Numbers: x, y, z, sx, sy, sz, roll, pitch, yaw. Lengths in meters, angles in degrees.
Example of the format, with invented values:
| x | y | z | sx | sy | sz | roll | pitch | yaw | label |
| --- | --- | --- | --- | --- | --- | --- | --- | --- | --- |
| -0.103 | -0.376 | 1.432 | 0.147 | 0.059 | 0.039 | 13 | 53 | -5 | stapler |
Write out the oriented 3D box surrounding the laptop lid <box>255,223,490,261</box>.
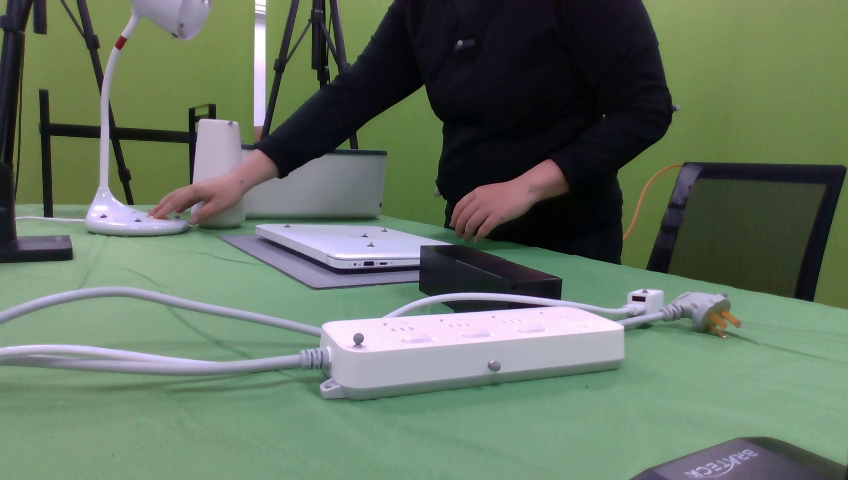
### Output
| x | y | z | sx | sy | sz | roll | pitch | yaw | label |
| --- | --- | --- | --- | --- | --- | --- | --- | --- | --- |
| -0.093 | 0.000 | 0.910 | 0.243 | 0.013 | 0.355 | 1 | 7 | -30 | laptop lid |

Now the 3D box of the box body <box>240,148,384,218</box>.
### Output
| x | y | z | sx | sy | sz | roll | pitch | yaw | label |
| --- | --- | --- | --- | --- | --- | --- | --- | --- | --- |
| -0.307 | -0.144 | 1.474 | 0.366 | 0.160 | 0.253 | -1 | 9 | -30 | box body |

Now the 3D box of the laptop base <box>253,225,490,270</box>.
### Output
| x | y | z | sx | sy | sz | roll | pitch | yaw | label |
| --- | --- | --- | --- | --- | --- | --- | --- | --- | --- |
| -0.096 | 0.010 | 0.910 | 0.237 | 0.023 | 0.352 | 3 | 7 | -32 | laptop base |

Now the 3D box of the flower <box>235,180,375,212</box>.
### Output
| x | y | z | sx | sy | sz | roll | pitch | yaw | label |
| --- | --- | --- | --- | --- | --- | --- | --- | --- | --- |
| -0.264 | -0.092 | 1.417 | 0.364 | 0.038 | 0.044 | 8 | -42 | -39 | flower |

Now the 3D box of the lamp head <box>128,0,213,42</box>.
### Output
| x | y | z | sx | sy | sz | roll | pitch | yaw | label |
| --- | --- | --- | --- | --- | --- | --- | --- | --- | --- |
| -0.423 | -0.394 | 0.980 | 0.123 | 0.112 | 0.112 | 20 | 7 | -3 | lamp head |

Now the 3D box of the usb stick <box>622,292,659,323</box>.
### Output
| x | y | z | sx | sy | sz | roll | pitch | yaw | label |
| --- | --- | --- | --- | --- | --- | --- | --- | --- | --- |
| 0.211 | 0.064 | 0.581 | 0.021 | 0.027 | 0.059 | 5 | -1 | 38 | usb stick |

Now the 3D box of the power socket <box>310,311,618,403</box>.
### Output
| x | y | z | sx | sy | sz | roll | pitch | yaw | label |
| --- | --- | --- | --- | --- | --- | --- | --- | --- | --- |
| 0.034 | 0.075 | 0.415 | 0.228 | 0.032 | 0.072 | -1 | 7 | -24 | power socket |

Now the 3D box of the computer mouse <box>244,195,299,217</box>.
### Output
| x | y | z | sx | sy | sz | roll | pitch | yaw | label |
| --- | --- | --- | --- | --- | --- | --- | --- | --- | --- |
| -0.346 | -0.077 | 1.372 | 0.118 | 0.041 | 0.062 | -11 | 18 | -33 | computer mouse |

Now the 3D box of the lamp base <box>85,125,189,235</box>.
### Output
| x | y | z | sx | sy | sz | roll | pitch | yaw | label |
| --- | --- | --- | --- | --- | --- | --- | --- | --- | --- |
| -0.498 | -0.105 | 1.026 | 0.179 | 0.180 | 0.160 | 1 | 7 | 3 | lamp base |

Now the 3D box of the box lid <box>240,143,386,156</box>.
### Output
| x | y | z | sx | sy | sz | roll | pitch | yaw | label |
| --- | --- | --- | --- | --- | --- | --- | --- | --- | --- |
| -0.305 | -0.217 | 1.463 | 0.373 | 0.015 | 0.262 | -2 | 8 | -30 | box lid |

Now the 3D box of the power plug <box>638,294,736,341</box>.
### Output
| x | y | z | sx | sy | sz | roll | pitch | yaw | label |
| --- | --- | --- | --- | --- | --- | --- | --- | --- | --- |
| 0.233 | 0.076 | 0.534 | 0.072 | 0.035 | 0.052 | -30 | 41 | -9 | power plug |

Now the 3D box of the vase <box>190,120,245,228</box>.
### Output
| x | y | z | sx | sy | sz | roll | pitch | yaw | label |
| --- | --- | --- | --- | --- | --- | --- | --- | --- | --- |
| -0.390 | -0.123 | 1.142 | 0.098 | 0.200 | 0.098 | 3 | 9 | 0 | vase |
